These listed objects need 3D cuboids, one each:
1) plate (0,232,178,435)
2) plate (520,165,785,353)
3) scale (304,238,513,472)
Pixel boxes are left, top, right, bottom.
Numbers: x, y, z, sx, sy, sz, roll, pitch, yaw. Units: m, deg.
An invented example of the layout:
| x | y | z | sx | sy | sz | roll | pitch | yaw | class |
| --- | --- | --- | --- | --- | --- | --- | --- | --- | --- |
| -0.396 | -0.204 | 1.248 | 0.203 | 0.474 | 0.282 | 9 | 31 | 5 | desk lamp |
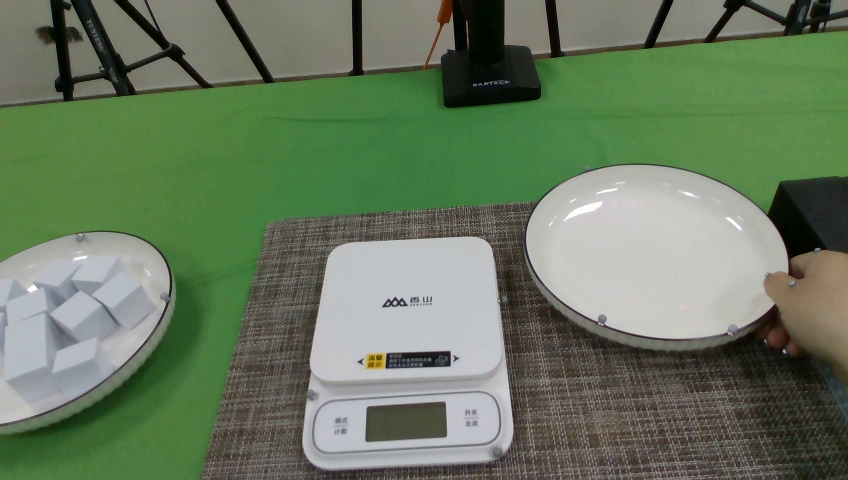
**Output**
| x | y | z | sx | sy | sz | roll | pitch | yaw | class |
| --- | --- | --- | --- | --- | --- | --- | --- | --- | --- |
| -0.312 | 0.076 | 0.517 | 0.209 | 0.038 | 0.207 | -3 | 44 | 3 | plate |
| 0.186 | 0.014 | 0.514 | 0.207 | 0.039 | 0.205 | -3 | 44 | 4 | plate |
| -0.012 | 0.079 | 0.476 | 0.148 | 0.032 | 0.199 | -4 | 45 | 4 | scale |
